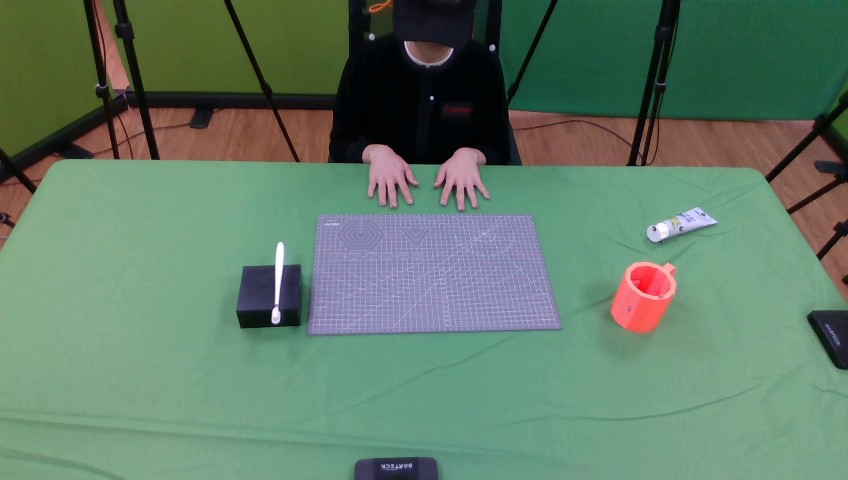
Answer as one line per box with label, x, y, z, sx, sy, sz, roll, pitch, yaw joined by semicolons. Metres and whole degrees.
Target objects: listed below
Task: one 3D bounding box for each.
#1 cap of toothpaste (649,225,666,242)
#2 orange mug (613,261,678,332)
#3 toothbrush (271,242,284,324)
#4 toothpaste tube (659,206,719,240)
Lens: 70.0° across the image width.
cap of toothpaste;0.473;-0.015;1.226;0.011;0.037;0.037;-20;51;-26
orange mug;0.403;0.091;1.078;0.126;0.101;0.083;-33;56;-25
toothbrush;-0.253;0.068;1.048;0.014;0.017;0.180;-5;46;-4
toothpaste tube;0.542;-0.035;1.259;0.165;0.034;0.054;-19;54;-26
